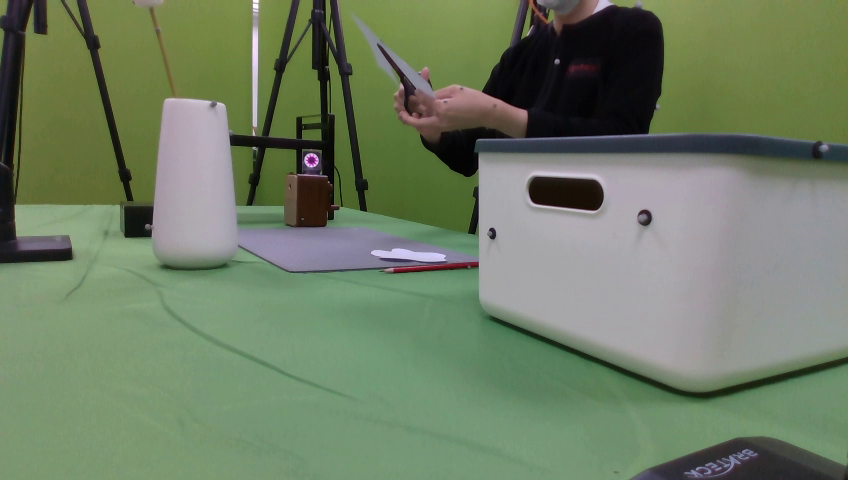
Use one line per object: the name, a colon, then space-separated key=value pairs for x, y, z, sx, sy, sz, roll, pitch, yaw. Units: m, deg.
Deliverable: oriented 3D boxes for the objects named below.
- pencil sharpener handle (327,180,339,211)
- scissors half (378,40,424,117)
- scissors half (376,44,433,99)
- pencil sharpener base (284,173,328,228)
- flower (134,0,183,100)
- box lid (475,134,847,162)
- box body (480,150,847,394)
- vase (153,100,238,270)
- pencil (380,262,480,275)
pencil sharpener handle: x=-0.194 y=-0.094 z=1.256 sx=0.031 sy=0.067 sz=0.036 roll=-2 pitch=-6 yaw=-36
scissors half: x=-0.042 y=-0.285 z=1.079 sx=0.012 sy=0.040 sz=0.176 roll=19 pitch=-27 yaw=38
scissors half: x=-0.033 y=-0.304 z=1.084 sx=0.013 sy=0.040 sz=0.176 roll=13 pitch=-7 yaw=36
pencil sharpener base: x=-0.239 y=-0.081 z=1.231 sx=0.077 sy=0.107 sz=0.061 roll=-2 pitch=8 yaw=-36
flower: x=-0.282 y=-0.147 z=0.713 sx=0.038 sy=0.362 sz=0.044 roll=-23 pitch=24 yaw=-31
box lid: x=0.256 y=-0.073 z=0.528 sx=0.373 sy=0.015 sz=0.262 roll=-2 pitch=8 yaw=-31
box body: x=0.254 y=0.002 z=0.539 sx=0.366 sy=0.160 sz=0.253 roll=-2 pitch=8 yaw=-31
vase: x=-0.278 y=-0.066 z=0.736 sx=0.098 sy=0.200 sz=0.098 roll=2 pitch=9 yaw=0
pencil: x=0.030 y=0.036 z=0.794 sx=0.195 sy=0.012 sz=0.012 roll=-3 pitch=9 yaw=-30
